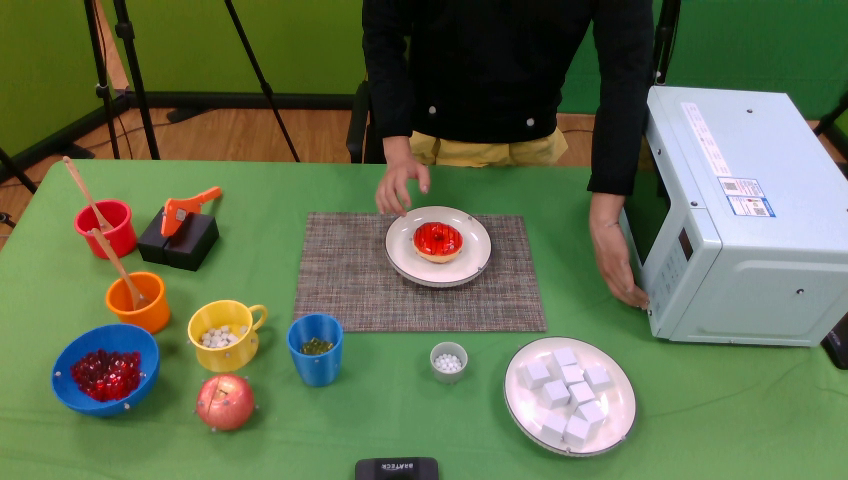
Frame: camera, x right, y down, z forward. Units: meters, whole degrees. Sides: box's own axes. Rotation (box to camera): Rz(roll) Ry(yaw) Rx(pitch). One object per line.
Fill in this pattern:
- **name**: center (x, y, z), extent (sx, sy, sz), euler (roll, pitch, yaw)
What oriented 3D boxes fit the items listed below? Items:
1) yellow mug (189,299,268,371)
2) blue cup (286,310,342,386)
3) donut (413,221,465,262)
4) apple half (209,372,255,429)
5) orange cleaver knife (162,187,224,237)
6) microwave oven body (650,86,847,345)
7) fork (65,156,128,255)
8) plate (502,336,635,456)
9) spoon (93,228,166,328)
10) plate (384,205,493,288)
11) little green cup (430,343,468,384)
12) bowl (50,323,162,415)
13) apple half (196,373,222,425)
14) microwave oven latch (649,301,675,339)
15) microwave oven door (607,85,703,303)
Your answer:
- **yellow mug**: center (-0.315, 0.148, 1.002), extent (0.131, 0.064, 0.099), euler (-33, 56, -31)
- **blue cup**: center (-0.168, 0.179, 0.958), extent (0.093, 0.101, 0.092), euler (1, 44, -1)
- **donut**: center (0.029, 0.003, 1.166), extent (0.099, 0.048, 0.098), euler (2, 43, -2)
- **apple half**: center (-0.282, 0.244, 0.908), extent (0.053, 0.075, 0.080), euler (7, 43, -1)
- **orange cleaver knife**: center (-0.448, -0.058, 1.180), extent (0.012, 0.077, 0.211), euler (13, 17, 6)
- **microwave oven body**: center (0.568, -0.053, 1.118), extent (0.326, 0.261, 0.439), euler (2, 45, -1)
- **fork**: center (-0.613, -0.064, 1.130), extent (0.028, 0.018, 0.207), euler (-29, 96, -18)
- **plate**: center (0.226, 0.248, 0.963), extent (0.208, 0.039, 0.206), euler (2, 46, -2)
- **spoon**: center (-0.495, 0.063, 1.014), extent (0.041, 0.194, 0.021), euler (-34, 12, -31)
- **plate**: center (0.027, 0.016, 1.169), extent (0.209, 0.038, 0.208), euler (2, 46, -2)
- **little green cup**: center (0.039, 0.203, 0.994), extent (0.061, 0.039, 0.061), euler (2, 46, -2)
- **bowl**: center (-0.471, 0.209, 0.924), extent (0.151, 0.077, 0.150), euler (3, 45, -2)
- **apple half**: center (-0.321, 0.239, 0.907), extent (0.033, 0.081, 0.081), euler (7, 46, -1)
- **microwave oven latch**: center (0.415, 0.135, 1.060), extent (0.030, 0.029, 0.078), euler (7, 45, 4)
- **microwave oven door**: center (0.423, -0.094, 1.140), extent (0.039, 0.245, 0.353), euler (2, 46, -1)
